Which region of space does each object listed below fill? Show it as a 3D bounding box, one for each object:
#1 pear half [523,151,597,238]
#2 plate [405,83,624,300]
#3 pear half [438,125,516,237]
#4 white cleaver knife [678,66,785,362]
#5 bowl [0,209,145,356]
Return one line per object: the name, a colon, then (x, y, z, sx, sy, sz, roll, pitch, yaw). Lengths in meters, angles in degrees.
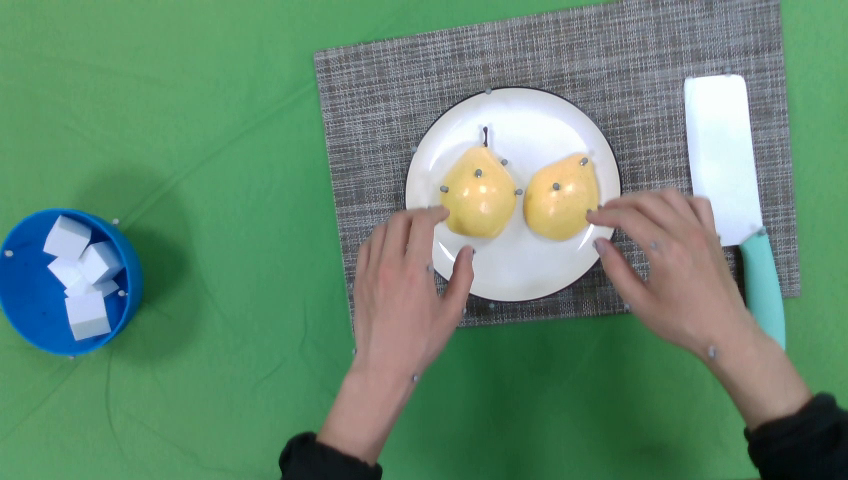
pear half: (0.134, -0.044, 0.585, 0.070, 0.031, 0.088, 25, 104, 1)
plate: (0.086, -0.046, 0.595, 0.207, 0.039, 0.208, 1, 95, 7)
pear half: (0.052, -0.058, 0.585, 0.076, 0.056, 0.110, 2, 92, 3)
white cleaver knife: (0.294, -0.023, 0.584, 0.066, 0.021, 0.286, -10, 91, 14)
bowl: (-0.357, 0.040, 0.643, 0.151, 0.077, 0.151, 1, 95, 7)
